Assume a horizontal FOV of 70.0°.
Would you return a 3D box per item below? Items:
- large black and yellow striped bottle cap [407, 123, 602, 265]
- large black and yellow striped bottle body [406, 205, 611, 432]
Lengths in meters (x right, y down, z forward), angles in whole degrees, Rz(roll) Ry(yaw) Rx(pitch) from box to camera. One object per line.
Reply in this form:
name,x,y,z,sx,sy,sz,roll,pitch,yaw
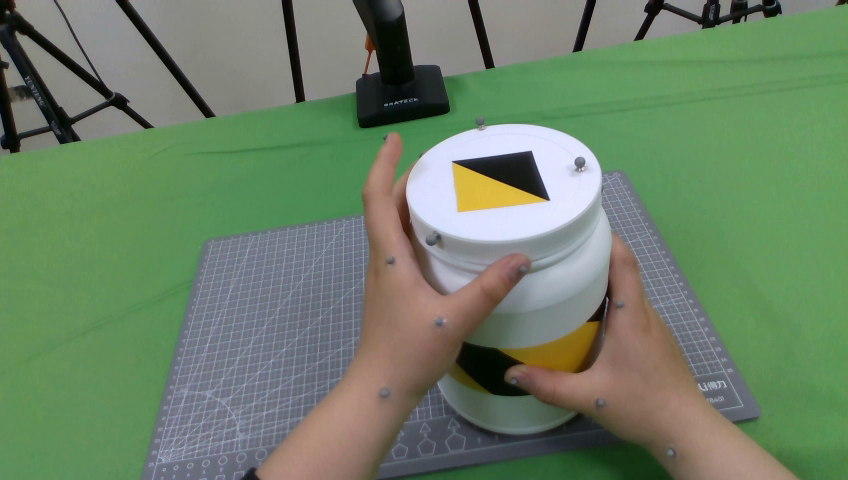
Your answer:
large black and yellow striped bottle cap,0.047,-0.031,0.359,0.115,0.019,0.114,-7,42,7
large black and yellow striped bottle body,0.059,0.031,0.417,0.130,0.186,0.129,-6,42,6
